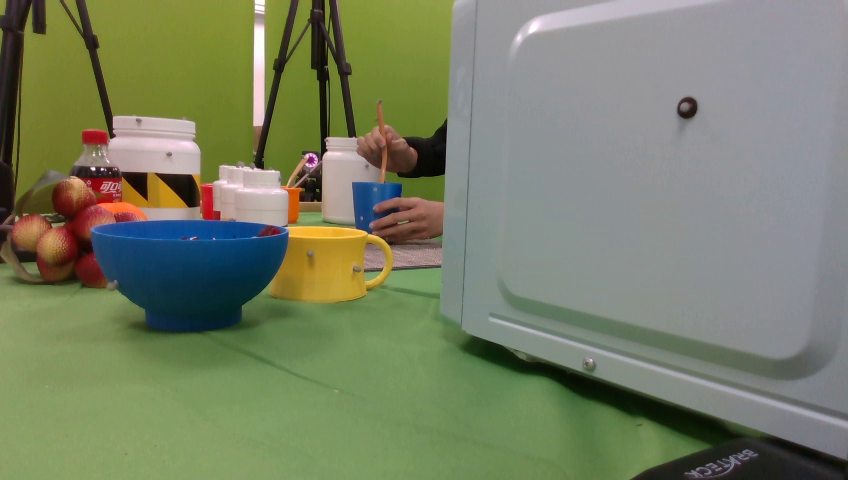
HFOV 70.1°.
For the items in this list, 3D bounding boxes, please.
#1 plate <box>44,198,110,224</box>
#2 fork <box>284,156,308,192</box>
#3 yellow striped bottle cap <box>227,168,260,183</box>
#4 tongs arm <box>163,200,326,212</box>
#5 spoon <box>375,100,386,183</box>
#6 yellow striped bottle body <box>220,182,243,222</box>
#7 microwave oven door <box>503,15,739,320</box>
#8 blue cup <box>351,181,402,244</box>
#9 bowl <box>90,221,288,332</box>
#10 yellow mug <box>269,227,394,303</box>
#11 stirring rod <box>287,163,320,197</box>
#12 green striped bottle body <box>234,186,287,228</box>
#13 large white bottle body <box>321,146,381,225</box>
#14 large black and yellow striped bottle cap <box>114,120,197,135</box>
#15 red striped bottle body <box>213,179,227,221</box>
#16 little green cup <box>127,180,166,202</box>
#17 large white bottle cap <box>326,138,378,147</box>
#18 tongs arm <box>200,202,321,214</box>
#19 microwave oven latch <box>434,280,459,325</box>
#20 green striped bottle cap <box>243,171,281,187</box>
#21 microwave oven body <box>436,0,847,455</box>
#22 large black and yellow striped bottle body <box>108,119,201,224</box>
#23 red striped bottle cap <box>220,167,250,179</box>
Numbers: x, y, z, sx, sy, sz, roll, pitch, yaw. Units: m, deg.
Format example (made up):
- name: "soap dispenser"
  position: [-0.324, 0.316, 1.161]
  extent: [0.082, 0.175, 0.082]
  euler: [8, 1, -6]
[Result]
- name: "plate"
  position: [-0.617, -0.056, 1.179]
  extent: [0.209, 0.038, 0.209]
  euler: [3, 7, 0]
- name: "fork"
  position: [-0.295, -0.116, 1.323]
  extent: [0.028, 0.019, 0.207]
  euler: [1, 50, 21]
- name: "yellow striped bottle cap"
  position: [-0.243, -0.087, 0.818]
  extent: [0.044, 0.018, 0.044]
  euler: [3, 6, 0]
- name: "tongs arm"
  position: [-0.433, -0.084, 1.490]
  extent: [0.389, 0.027, 0.028]
  euler: [-1, 1, -27]
- name: "spoon"
  position: [-0.072, -0.138, 1.007]
  extent: [0.022, 0.193, 0.041]
  euler: [1, -5, -7]
- name: "yellow striped bottle body"
  position: [-0.245, -0.036, 0.825]
  extent: [0.063, 0.120, 0.063]
  euler: [3, 8, 0]
- name: "microwave oven door"
  position: [0.218, -0.065, 0.600]
  extent: [0.358, 0.243, 0.039]
  euler: [-4, 10, -41]
- name: "blue cup"
  position: [-0.081, -0.046, 1.012]
  extent: [0.093, 0.100, 0.092]
  euler: [3, 7, 0]
- name: "bowl"
  position: [-0.190, 0.029, 0.500]
  extent: [0.151, 0.077, 0.151]
  euler: [3, 7, 0]
- name: "yellow mug"
  position: [-0.094, 0.023, 0.629]
  extent: [0.131, 0.064, 0.099]
  euler: [0, 7, -22]
- name: "stirring rod"
  position: [-0.283, -0.107, 1.298]
  extent: [0.014, 0.006, 0.176]
  euler: [10, 53, 50]
- name: "green striped bottle body"
  position: [-0.201, -0.023, 0.743]
  extent: [0.063, 0.119, 0.063]
  euler: [2, 7, 0]
- name: "large white bottle body"
  position: [-0.162, -0.131, 1.340]
  extent: [0.131, 0.184, 0.130]
  euler: [2, 8, 0]
- name: "large black and yellow striped bottle cap"
  position: [-0.407, -0.171, 0.920]
  extent: [0.115, 0.019, 0.115]
  euler: [2, 9, 0]
- name: "red striped bottle body"
  position: [-0.284, -0.048, 0.910]
  extent: [0.063, 0.119, 0.063]
  euler: [3, 12, 0]
- name: "little green cup"
  position: [-0.485, -0.086, 1.061]
  extent: [0.061, 0.038, 0.061]
  euler: [1, 7, 0]
- name: "large white bottle cap"
  position: [-0.158, -0.214, 1.329]
  extent: [0.115, 0.018, 0.115]
  euler: [2, 8, 0]
- name: "tongs arm"
  position: [-0.380, -0.076, 1.420]
  extent: [0.387, 0.026, 0.050]
  euler: [-3, 5, -42]
- name: "microwave oven latch"
  position: [0.044, 0.045, 0.470]
  extent: [0.079, 0.029, 0.030]
  euler: [-2, 8, -39]
- name: "green striped bottle cap"
  position: [-0.198, -0.074, 0.736]
  extent: [0.044, 0.020, 0.044]
  euler: [1, 7, 0]
- name: "microwave oven body"
  position: [0.279, -0.040, 0.465]
  extent: [0.444, 0.260, 0.324]
  euler: [-3, 9, -41]
- name: "large black and yellow striped bottle body"
  position: [-0.412, -0.088, 0.930]
  extent: [0.131, 0.184, 0.130]
  euler: [3, 7, 0]
- name: "red striped bottle cap"
  position: [-0.281, -0.099, 0.901]
  extent: [0.044, 0.017, 0.044]
  euler: [-1, 5, 0]
